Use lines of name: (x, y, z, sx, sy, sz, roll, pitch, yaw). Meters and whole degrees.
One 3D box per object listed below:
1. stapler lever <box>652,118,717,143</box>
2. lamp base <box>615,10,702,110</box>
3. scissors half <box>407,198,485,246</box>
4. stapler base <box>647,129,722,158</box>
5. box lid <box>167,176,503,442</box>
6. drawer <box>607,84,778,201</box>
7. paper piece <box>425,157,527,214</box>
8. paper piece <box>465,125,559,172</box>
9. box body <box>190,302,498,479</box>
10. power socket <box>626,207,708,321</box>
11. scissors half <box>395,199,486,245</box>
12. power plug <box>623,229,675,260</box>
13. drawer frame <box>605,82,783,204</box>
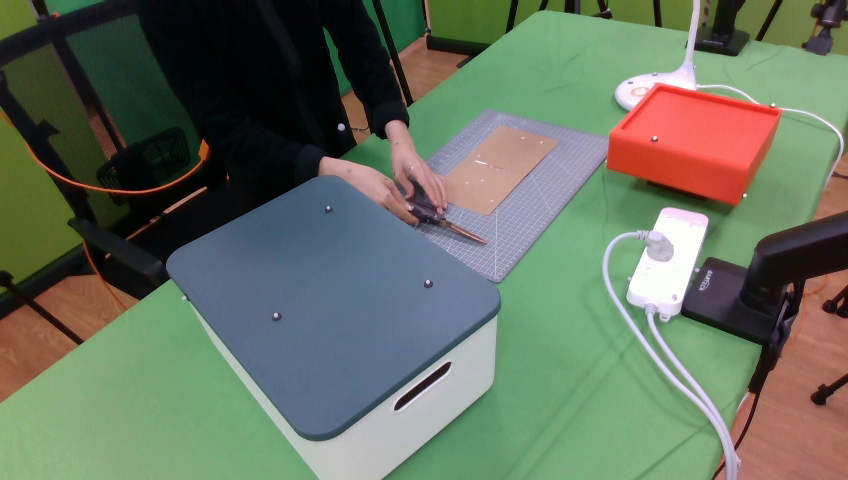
stapler lever: (0.436, -0.192, 1.014, 0.118, 0.040, 0.026, -15, 25, -16)
lamp base: (0.484, -0.364, 1.211, 0.180, 0.181, 0.159, -15, 41, -14)
scissors half: (0.036, -0.030, 1.009, 0.173, 0.013, 0.040, 34, 22, 35)
stapler base: (0.439, -0.167, 1.023, 0.131, 0.024, 0.041, -16, 25, -15)
box lid: (-0.119, 0.047, 0.714, 0.264, 0.015, 0.368, -33, 47, -27)
drawer: (0.438, -0.167, 0.995, 0.210, 0.073, 0.195, 23, 48, 30)
paper piece: (0.095, -0.103, 1.089, 0.134, 0.004, 0.136, 22, 48, 30)
paper piece: (0.171, -0.177, 1.168, 0.137, 0.009, 0.136, 21, 44, 30)
box body: (-0.110, 0.103, 0.761, 0.255, 0.161, 0.361, -33, 46, -27)
power socket: (0.360, 0.026, 0.886, 0.072, 0.033, 0.227, 16, 46, 26)
scissors half: (0.025, -0.028, 0.992, 0.174, 0.013, 0.040, 25, 23, 18)
power plug: (0.327, 0.007, 0.878, 0.072, 0.053, 0.035, 25, 51, 33)
drawer frame: (0.441, -0.167, 0.995, 0.212, 0.083, 0.202, 23, 48, 30)
